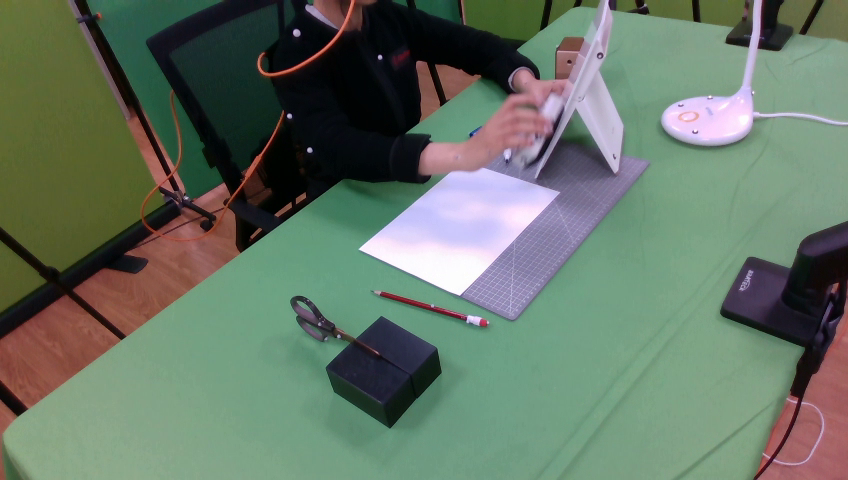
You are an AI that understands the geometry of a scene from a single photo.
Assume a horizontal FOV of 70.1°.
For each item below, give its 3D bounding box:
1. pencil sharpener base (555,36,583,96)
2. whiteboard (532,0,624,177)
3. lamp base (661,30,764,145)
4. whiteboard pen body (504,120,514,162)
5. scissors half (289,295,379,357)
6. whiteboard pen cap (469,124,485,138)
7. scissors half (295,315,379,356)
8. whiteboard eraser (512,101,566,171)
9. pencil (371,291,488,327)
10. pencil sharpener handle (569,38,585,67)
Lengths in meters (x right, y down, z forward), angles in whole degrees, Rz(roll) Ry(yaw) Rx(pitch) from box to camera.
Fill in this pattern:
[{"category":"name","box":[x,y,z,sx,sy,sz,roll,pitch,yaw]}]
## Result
[{"category":"pencil sharpener base","box":[0.318,-0.371,1.290,0.061,0.107,0.076,10,44,22]},{"category":"whiteboard","box":[0.320,-0.258,1.050,0.144,0.306,0.217,21,45,4]},{"category":"lamp base","box":[0.535,-0.287,1.096,0.179,0.181,0.159,-10,40,-4]},{"category":"whiteboard pen body","box":[0.165,-0.192,1.177,0.017,0.017,0.140,0,42,11]},{"category":"scissors half","box":[-0.122,0.114,0.803,0.174,0.040,0.013,26,50,32]},{"category":"whiteboard pen cap","box":[0.107,-0.220,1.224,0.033,0.018,0.018,-37,47,-24]},{"category":"scissors half","box":[-0.118,0.131,0.813,0.173,0.040,0.013,9,34,45]},{"category":"whiteboard eraser","box":[0.184,-0.161,0.945,0.042,0.055,0.112,32,71,-6]},{"category":"pencil","box":[0.003,0.097,0.877,0.193,0.012,0.012,13,45,26]},{"category":"pencil sharpener handle","box":[0.333,-0.413,1.318,0.036,0.068,0.030,19,47,13]}]
